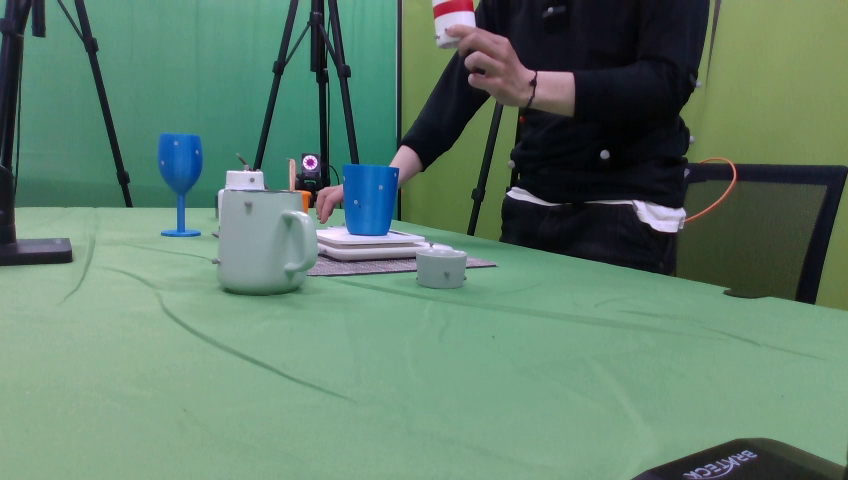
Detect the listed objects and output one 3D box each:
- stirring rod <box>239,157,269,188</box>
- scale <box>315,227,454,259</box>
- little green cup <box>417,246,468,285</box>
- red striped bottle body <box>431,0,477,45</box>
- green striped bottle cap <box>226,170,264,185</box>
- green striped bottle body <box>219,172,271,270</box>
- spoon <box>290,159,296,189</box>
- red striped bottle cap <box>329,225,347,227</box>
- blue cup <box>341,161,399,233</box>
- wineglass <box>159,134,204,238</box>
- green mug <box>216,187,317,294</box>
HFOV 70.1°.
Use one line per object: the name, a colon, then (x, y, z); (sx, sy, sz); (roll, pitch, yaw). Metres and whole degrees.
stirring rod: (-0.309, -0.098, 1.209); (0.006, 0.177, 0.014); (-39, 29, -4)
scale: (-0.066, 0.001, 0.906); (0.202, 0.031, 0.148); (-2, 8, -31)
little green cup: (0.021, 0.029, 0.702); (0.061, 0.038, 0.061); (1, 6, 0)
red striped bottle body: (0.041, -0.360, 0.910); (0.063, 0.119, 0.063); (-8, 7, 1)
green striped bottle cap: (-0.222, -0.076, 0.748); (0.044, 0.020, 0.044); (0, 7, 0)
green striped bottle body: (-0.223, -0.025, 0.755); (0.063, 0.119, 0.063); (2, 7, 0)
spoon: (-0.273, -0.102, 1.252); (0.042, 0.193, 0.021); (7, -39, -17)
red striped bottle cap: (-0.152, -0.017, 1.093); (0.044, 0.017, 0.044); (-4, 3, 1)
blue cup: (-0.080, -0.062, 0.883); (0.093, 0.100, 0.092); (2, 4, 0)
wineglass: (-0.415, -0.093, 1.040); (0.074, 0.172, 0.073); (2, 7, 0)
green mug: (-0.157, 0.000, 0.629); (0.124, 0.105, 0.093); (7, 9, 37)
